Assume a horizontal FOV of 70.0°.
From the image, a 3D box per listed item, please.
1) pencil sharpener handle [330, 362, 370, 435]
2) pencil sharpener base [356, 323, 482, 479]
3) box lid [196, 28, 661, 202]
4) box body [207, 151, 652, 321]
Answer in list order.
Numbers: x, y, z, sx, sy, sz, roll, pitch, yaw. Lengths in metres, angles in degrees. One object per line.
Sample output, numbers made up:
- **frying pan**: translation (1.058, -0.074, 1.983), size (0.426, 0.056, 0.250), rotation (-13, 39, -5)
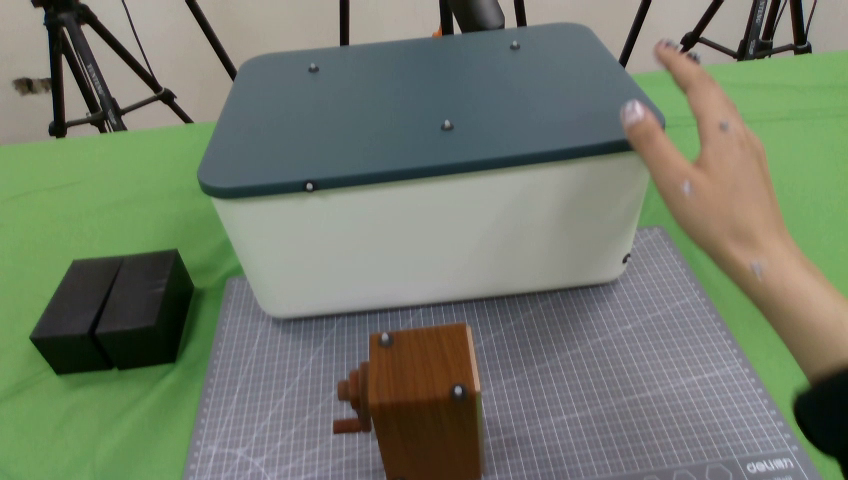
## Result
- **pencil sharpener handle**: translation (-0.054, 0.112, 0.412), size (0.030, 0.068, 0.035), rotation (-6, 43, 0)
- **pencil sharpener base**: translation (-0.002, 0.117, 0.420), size (0.077, 0.108, 0.060), rotation (-6, 40, 0)
- **box lid**: translation (-0.004, -0.128, 0.555), size (0.372, 0.015, 0.260), rotation (-6, 38, -1)
- **box body**: translation (0.004, -0.070, 0.602), size (0.364, 0.162, 0.251), rotation (-6, 39, -1)
